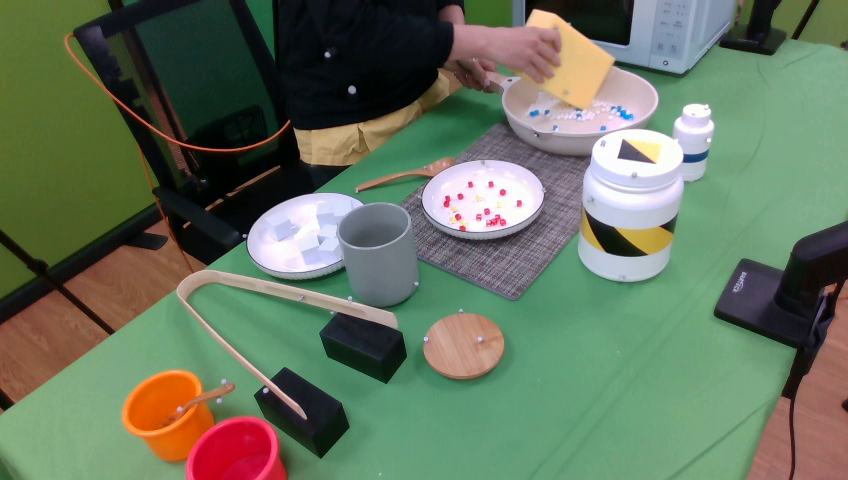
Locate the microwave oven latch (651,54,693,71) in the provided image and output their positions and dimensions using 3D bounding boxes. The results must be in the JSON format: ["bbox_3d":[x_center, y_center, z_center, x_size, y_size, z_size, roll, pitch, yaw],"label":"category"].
[{"bbox_3d":[0.531,-0.386,1.301,0.078,0.029,0.030,26,51,33],"label":"microwave oven latch"}]

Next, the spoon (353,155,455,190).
[{"bbox_3d":[-0.038,-0.123,1.116,0.194,0.022,0.041,-12,58,-4],"label":"spoon"}]

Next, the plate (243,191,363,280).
[{"bbox_3d":[-0.188,-0.005,0.992,0.207,0.039,0.206,-4,41,4],"label":"plate"}]

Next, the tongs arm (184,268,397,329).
[{"bbox_3d":[-0.202,0.084,0.848,0.382,0.027,0.051,11,45,35],"label":"tongs arm"}]

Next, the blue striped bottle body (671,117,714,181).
[{"bbox_3d":[0.449,-0.165,1.022,0.063,0.121,0.063,-5,41,4],"label":"blue striped bottle body"}]

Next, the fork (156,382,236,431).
[{"bbox_3d":[-0.262,0.190,0.690,0.018,0.206,0.028,48,43,-7],"label":"fork"}]

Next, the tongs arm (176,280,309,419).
[{"bbox_3d":[-0.254,0.133,0.801,0.028,0.028,0.384,-41,41,-23],"label":"tongs arm"}]

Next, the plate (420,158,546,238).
[{"bbox_3d":[0.099,-0.067,1.017,0.209,0.038,0.208,-4,40,4],"label":"plate"}]

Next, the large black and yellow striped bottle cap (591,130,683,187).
[{"bbox_3d":[0.282,-0.111,0.803,0.115,0.019,0.114,-3,41,3],"label":"large black and yellow striped bottle cap"}]

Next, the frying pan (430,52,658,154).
[{"bbox_3d":[0.216,-0.302,1.223,0.484,0.103,0.308,29,49,24],"label":"frying pan"}]

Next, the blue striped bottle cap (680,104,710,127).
[{"bbox_3d":[0.443,-0.204,0.989,0.044,0.021,0.044,-1,41,2],"label":"blue striped bottle cap"}]

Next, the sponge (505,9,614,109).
[{"bbox_3d":[0.270,-0.350,1.188,0.209,0.118,0.060,15,17,-40],"label":"sponge"}]

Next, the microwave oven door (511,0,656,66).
[{"bbox_3d":[0.351,-0.540,1.349,0.353,0.245,0.039,24,50,31],"label":"microwave oven door"}]

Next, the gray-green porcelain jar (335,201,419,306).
[{"bbox_3d":[-0.064,0.024,0.872,0.106,0.127,0.105,-4,41,4],"label":"gray-green porcelain jar"}]

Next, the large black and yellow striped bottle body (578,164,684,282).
[{"bbox_3d":[0.291,-0.046,0.858,0.131,0.185,0.130,-4,41,4],"label":"large black and yellow striped bottle body"}]

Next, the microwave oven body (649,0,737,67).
[{"bbox_3d":[0.475,-0.602,1.411,0.438,0.261,0.327,23,50,32],"label":"microwave oven body"}]

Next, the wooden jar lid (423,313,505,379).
[{"bbox_3d":[0.053,0.142,0.800,0.108,0.021,0.108,-5,39,4],"label":"wooden jar lid"}]
